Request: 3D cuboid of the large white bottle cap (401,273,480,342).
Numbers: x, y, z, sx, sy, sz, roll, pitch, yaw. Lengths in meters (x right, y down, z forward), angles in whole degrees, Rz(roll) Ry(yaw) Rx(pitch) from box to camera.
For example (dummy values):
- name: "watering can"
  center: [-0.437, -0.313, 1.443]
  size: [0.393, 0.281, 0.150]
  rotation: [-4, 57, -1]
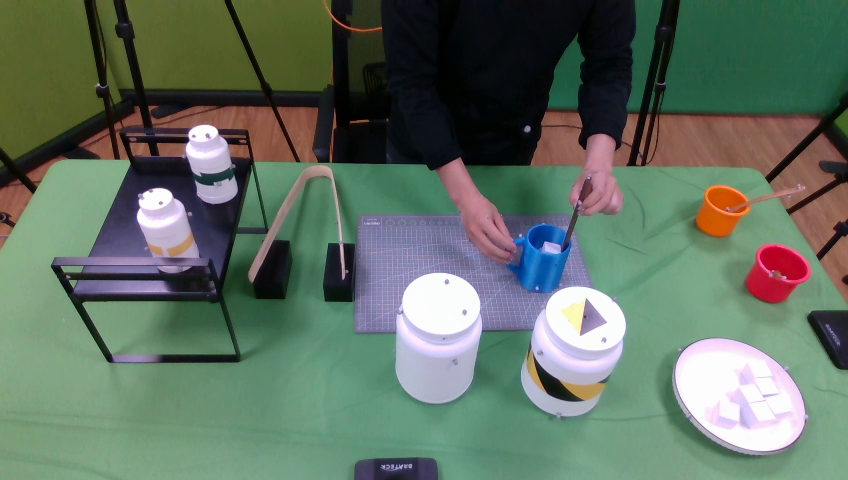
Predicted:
- name: "large white bottle cap"
  center: [0.024, 0.095, 0.878]
  size: [0.115, 0.018, 0.114]
  rotation: [2, 47, -2]

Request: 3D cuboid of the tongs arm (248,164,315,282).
- name: "tongs arm"
  center: [-0.269, -0.048, 1.166]
  size: [0.028, 0.028, 0.385]
  rotation: [-1, 34, 7]

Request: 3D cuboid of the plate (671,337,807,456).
- name: "plate"
  center: [0.503, 0.254, 0.984]
  size: [0.208, 0.039, 0.206]
  rotation: [2, 46, -2]

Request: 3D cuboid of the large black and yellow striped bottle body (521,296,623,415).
- name: "large black and yellow striped bottle body"
  center: [0.228, 0.173, 0.938]
  size: [0.131, 0.185, 0.130]
  rotation: [2, 47, -2]

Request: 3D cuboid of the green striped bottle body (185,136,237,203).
- name: "green striped bottle body"
  center: [-0.341, -0.121, 0.968]
  size: [0.063, 0.120, 0.063]
  rotation: [2, 46, -2]

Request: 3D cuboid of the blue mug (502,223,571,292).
- name: "blue mug"
  center: [0.203, 0.031, 1.122]
  size: [0.116, 0.106, 0.082]
  rotation: [7, 46, 3]

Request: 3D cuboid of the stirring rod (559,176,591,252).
- name: "stirring rod"
  center: [0.256, -0.041, 1.031]
  size: [0.014, 0.177, 0.006]
  rotation: [-34, 59, -31]

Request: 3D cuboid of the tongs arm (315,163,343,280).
- name: "tongs arm"
  center: [-0.187, -0.049, 1.170]
  size: [0.051, 0.026, 0.382]
  rotation: [-5, 35, -6]

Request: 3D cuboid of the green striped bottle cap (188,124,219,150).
- name: "green striped bottle cap"
  center: [-0.339, -0.158, 0.931]
  size: [0.044, 0.020, 0.044]
  rotation: [3, 47, -3]

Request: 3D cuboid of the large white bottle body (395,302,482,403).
- name: "large white bottle body"
  center: [0.020, 0.153, 0.939]
  size: [0.131, 0.185, 0.130]
  rotation: [2, 46, -2]

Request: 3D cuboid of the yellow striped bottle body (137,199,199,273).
- name: "yellow striped bottle body"
  center: [-0.366, -0.014, 0.863]
  size: [0.063, 0.121, 0.062]
  rotation: [2, 46, -2]

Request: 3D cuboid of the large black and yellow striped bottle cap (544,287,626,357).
- name: "large black and yellow striped bottle cap"
  center: [0.232, 0.116, 0.876]
  size: [0.115, 0.019, 0.114]
  rotation: [2, 45, -1]

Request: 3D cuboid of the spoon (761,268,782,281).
- name: "spoon"
  center: [0.638, 0.060, 1.105]
  size: [0.041, 0.021, 0.194]
  rotation: [38, 11, 24]

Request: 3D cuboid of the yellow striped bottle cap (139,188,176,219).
- name: "yellow striped bottle cap"
  center: [-0.363, -0.050, 0.826]
  size: [0.044, 0.019, 0.044]
  rotation: [1, 47, 0]

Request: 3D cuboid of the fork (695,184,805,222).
- name: "fork"
  center: [0.657, -0.075, 1.230]
  size: [0.207, 0.019, 0.028]
  rotation: [-23, 33, 37]
